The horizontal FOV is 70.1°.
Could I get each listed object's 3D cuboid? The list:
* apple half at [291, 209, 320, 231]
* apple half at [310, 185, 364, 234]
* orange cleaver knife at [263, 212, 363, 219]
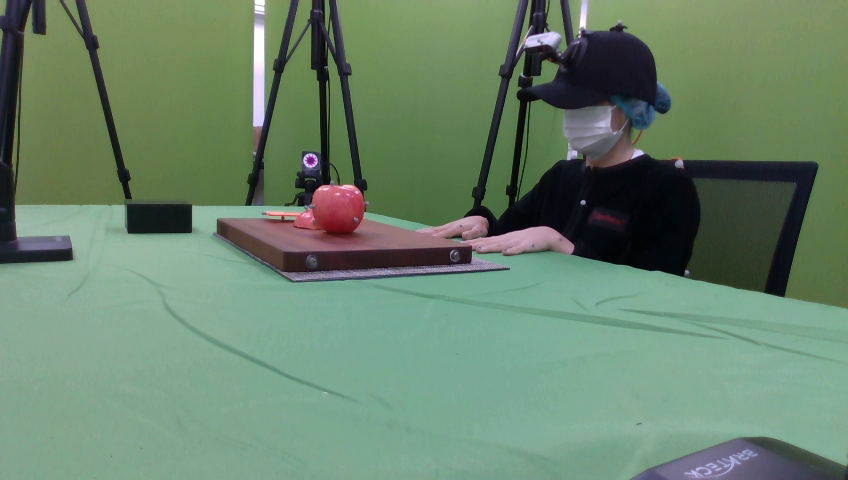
[{"bbox_3d":[-0.178,-0.036,0.980,0.081,0.033,0.081,5,9,0],"label":"apple half"},{"bbox_3d":[-0.123,-0.045,0.906,0.081,0.074,0.053,2,10,-42],"label":"apple half"},{"bbox_3d":[-0.192,-0.045,1.097,0.212,0.012,0.077,0,5,-38],"label":"orange cleaver knife"}]
